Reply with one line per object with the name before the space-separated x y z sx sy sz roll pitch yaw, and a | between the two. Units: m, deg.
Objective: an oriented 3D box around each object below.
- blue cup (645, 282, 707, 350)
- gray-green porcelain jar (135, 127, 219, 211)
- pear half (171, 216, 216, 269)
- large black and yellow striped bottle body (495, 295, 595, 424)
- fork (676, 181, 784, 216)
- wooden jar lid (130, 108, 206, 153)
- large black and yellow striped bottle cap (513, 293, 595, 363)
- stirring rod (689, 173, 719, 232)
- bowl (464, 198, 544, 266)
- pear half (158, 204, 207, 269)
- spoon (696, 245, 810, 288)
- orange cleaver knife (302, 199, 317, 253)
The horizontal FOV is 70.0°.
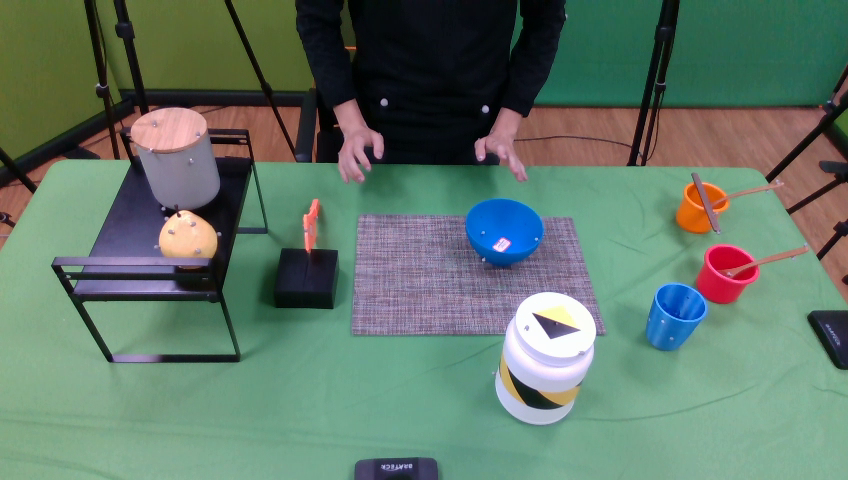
blue cup | 0.425 0.136 1.042 0.092 0.101 0.092 1 44 -1
gray-green porcelain jar | -0.386 -0.118 0.959 0.106 0.127 0.105 2 46 -2
pear half | -0.323 0.007 0.867 0.031 0.088 0.070 25 46 20
large black and yellow striped bottle body | 0.183 0.182 0.923 0.131 0.185 0.130 2 46 -2
fork | 0.618 -0.084 1.235 0.207 0.019 0.028 -23 20 38
wooden jar lid | -0.384 -0.162 0.914 0.108 0.021 0.107 4 46 -4
large black and yellow striped bottle cap | 0.186 0.123 0.863 0.115 0.019 0.114 3 45 -3
stirring rod | 0.566 -0.079 1.225 0.014 0.006 0.175 2 45 2
bowl | 0.149 -0.004 1.168 0.151 0.077 0.150 2 46 -2
pear half | -0.352 -0.015 0.873 0.056 0.110 0.076 25 45 19
spoon | 0.601 0.047 1.114 0.193 0.022 0.041 -27 36 33
orange cleaver knife | -0.219 -0.031 1.168 0.012 0.077 0.210 -5 17 -3
